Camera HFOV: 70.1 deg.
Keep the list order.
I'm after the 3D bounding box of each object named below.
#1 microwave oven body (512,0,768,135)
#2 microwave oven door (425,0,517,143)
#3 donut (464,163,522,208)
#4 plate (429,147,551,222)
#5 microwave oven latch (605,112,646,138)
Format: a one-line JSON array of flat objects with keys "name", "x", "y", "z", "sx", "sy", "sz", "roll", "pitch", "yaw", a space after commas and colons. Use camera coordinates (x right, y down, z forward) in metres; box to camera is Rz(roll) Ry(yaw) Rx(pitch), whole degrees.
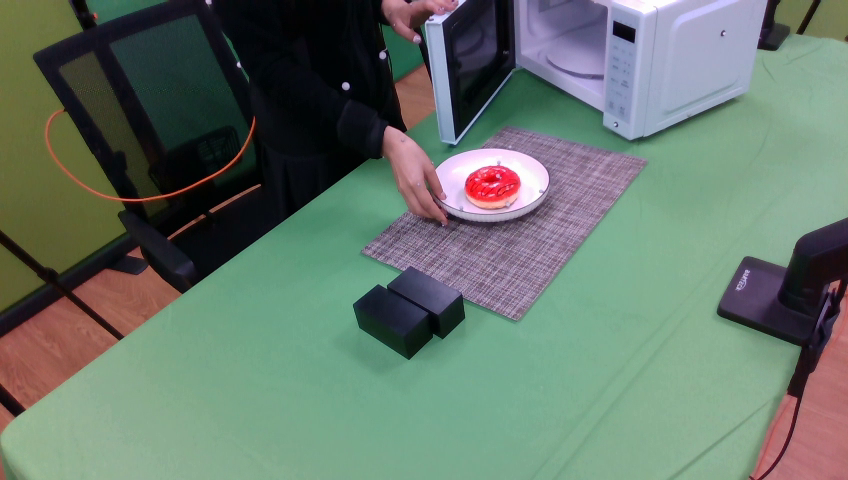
[{"name": "microwave oven body", "x": 0.410, "y": -0.441, "z": 1.235, "sx": 0.327, "sy": 0.261, "sz": 0.437, "roll": -25, "pitch": 42, "yaw": -16}, {"name": "microwave oven door", "x": 0.108, "y": -0.393, "z": 1.229, "sx": 0.039, "sy": 0.245, "sz": 0.356, "roll": 13, "pitch": 45, "yaw": 24}, {"name": "donut", "x": 0.117, "y": -0.094, "z": 1.031, "sx": 0.099, "sy": 0.048, "sz": 0.098, "roll": -5, "pitch": 41, "yaw": 4}, {"name": "plate", "x": 0.114, "y": -0.094, "z": 1.048, "sx": 0.209, "sy": 0.038, "sz": 0.208, "roll": -3, "pitch": 39, "yaw": 3}, {"name": "microwave oven latch", "x": 0.375, "y": -0.217, "z": 1.130, "sx": 0.030, "sy": 0.029, "sz": 0.078, "roll": -24, "pitch": 42, "yaw": -16}]
